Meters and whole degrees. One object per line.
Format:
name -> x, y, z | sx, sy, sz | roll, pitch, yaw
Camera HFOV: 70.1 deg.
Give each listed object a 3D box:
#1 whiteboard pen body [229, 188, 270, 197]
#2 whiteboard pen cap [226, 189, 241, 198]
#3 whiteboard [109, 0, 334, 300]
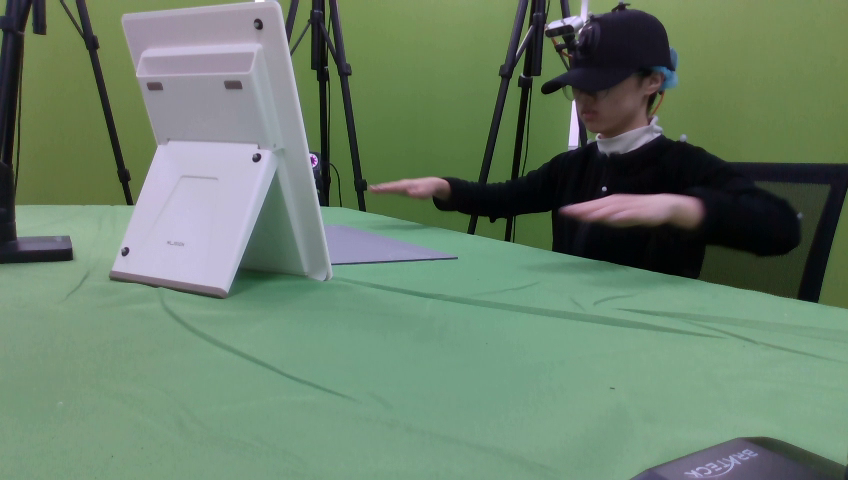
whiteboard pen body -> -0.378, -0.103, 1.313 | 0.017, 0.017, 0.141 | 4, 7, 18
whiteboard pen cap -> -0.396, -0.096, 1.258 | 0.018, 0.018, 0.033 | 4, 5, 17
whiteboard -> -0.247, -0.072, 0.624 | 0.216, 0.305, 0.144 | 6, 28, 26
